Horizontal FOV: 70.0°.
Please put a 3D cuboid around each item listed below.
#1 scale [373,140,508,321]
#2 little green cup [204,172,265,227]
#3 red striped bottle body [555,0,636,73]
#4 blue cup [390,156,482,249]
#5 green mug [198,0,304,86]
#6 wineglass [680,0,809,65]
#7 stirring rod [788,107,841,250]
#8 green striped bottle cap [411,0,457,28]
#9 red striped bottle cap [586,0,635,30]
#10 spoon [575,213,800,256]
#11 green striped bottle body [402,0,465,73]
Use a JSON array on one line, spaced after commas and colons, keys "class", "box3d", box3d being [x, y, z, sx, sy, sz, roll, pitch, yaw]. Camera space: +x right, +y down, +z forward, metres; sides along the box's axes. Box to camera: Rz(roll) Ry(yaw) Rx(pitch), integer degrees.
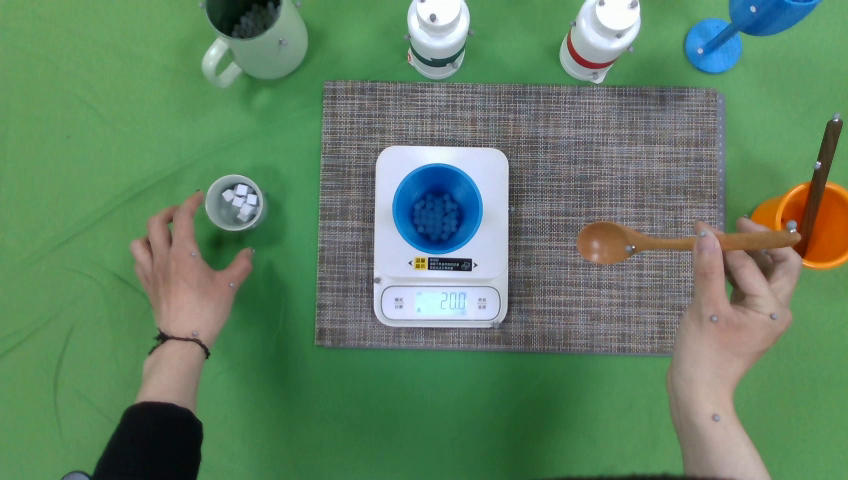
[{"class": "scale", "box3d": [0.018, -0.011, 0.667, 0.149, 0.031, 0.200, 0, 88, 0]}, {"class": "little green cup", "box3d": [-0.205, -0.042, 0.668, 0.061, 0.038, 0.061, 0, 87, -1]}, {"class": "red striped bottle body", "box3d": [0.180, -0.224, 0.637, 0.063, 0.120, 0.063, 0, 87, 0]}, {"class": "blue cup", "box3d": [0.012, -0.033, 0.603, 0.092, 0.100, 0.092, 0, 89, 0]}, {"class": "green mug", "box3d": [-0.191, -0.219, 0.644, 0.092, 0.105, 0.125, 36, 88, 2]}, {"class": "wineglass", "box3d": [0.325, -0.238, 0.610, 0.074, 0.172, 0.073, 0, 87, 1]}, {"class": "stirring rod", "box3d": [0.398, -0.056, 0.621, 0.014, 0.005, 0.178, -13, 130, 0]}, {"class": "green striped bottle cap", "box3d": [0.010, -0.229, 0.580, 0.044, 0.020, 0.044, 0, 87, 2]}, {"class": "red striped bottle cap", "box3d": [0.180, -0.227, 0.583, 0.044, 0.018, 0.044, 0, 84, 0]}, {"class": "spoon", "box3d": [0.200, -0.004, 0.490, 0.022, 0.192, 0.042, -20, 101, -30]}, {"class": "green striped bottle body", "box3d": [0.010, -0.224, 0.636, 0.063, 0.119, 0.063, 0, 87, 0]}]
